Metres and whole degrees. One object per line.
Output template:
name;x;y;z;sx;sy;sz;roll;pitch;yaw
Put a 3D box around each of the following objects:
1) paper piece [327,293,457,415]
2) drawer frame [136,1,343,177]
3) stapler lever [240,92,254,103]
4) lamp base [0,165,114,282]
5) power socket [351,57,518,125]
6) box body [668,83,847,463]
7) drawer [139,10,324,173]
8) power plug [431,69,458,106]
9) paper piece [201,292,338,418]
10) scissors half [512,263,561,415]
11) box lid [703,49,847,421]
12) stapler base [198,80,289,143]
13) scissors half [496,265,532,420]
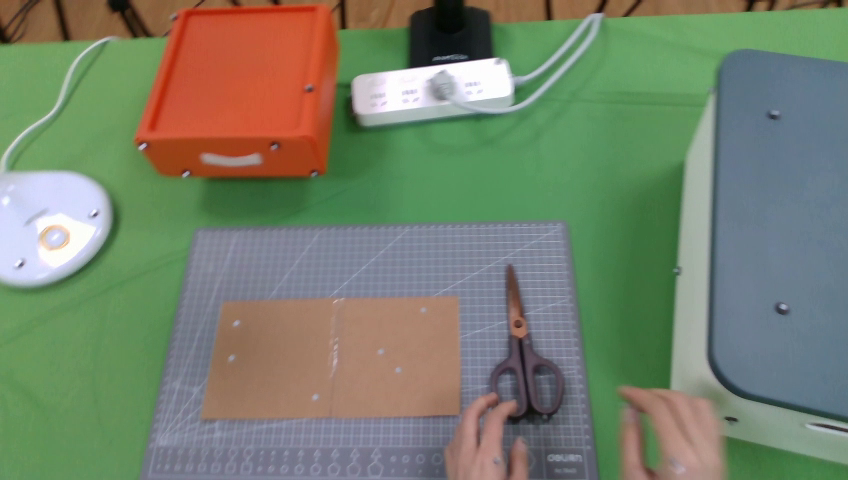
paper piece;-0.032;0.119;0.647;0.135;0.004;0.134;0;62;4
drawer frame;-0.212;-0.184;0.734;0.201;0.083;0.211;0;61;4
stapler lever;-0.235;-0.168;0.719;0.117;0.040;0.027;27;82;21
lamp base;-0.477;-0.064;0.679;0.178;0.182;0.160;29;66;21
power socket;0.014;-0.198;0.806;0.227;0.033;0.071;-6;62;0
box body;0.390;0.019;0.588;0.253;0.162;0.361;11;63;10
drawer;-0.210;-0.182;0.733;0.194;0.074;0.210;0;61;5
power plug;0.024;-0.185;0.772;0.035;0.053;0.072;3;62;5
paper piece;-0.164;0.122;0.654;0.136;0.009;0.137;-2;62;6
scissors half;0.113;0.099;0.642;0.040;0.013;0.173;-26;53;23
box lid;0.385;-0.015;0.523;0.263;0.015;0.369;12;62;9
stapler base;-0.226;-0.161;0.743;0.130;0.024;0.041;28;83;20
scissors half;0.098;0.105;0.652;0.040;0.013;0.174;-16;57;36
